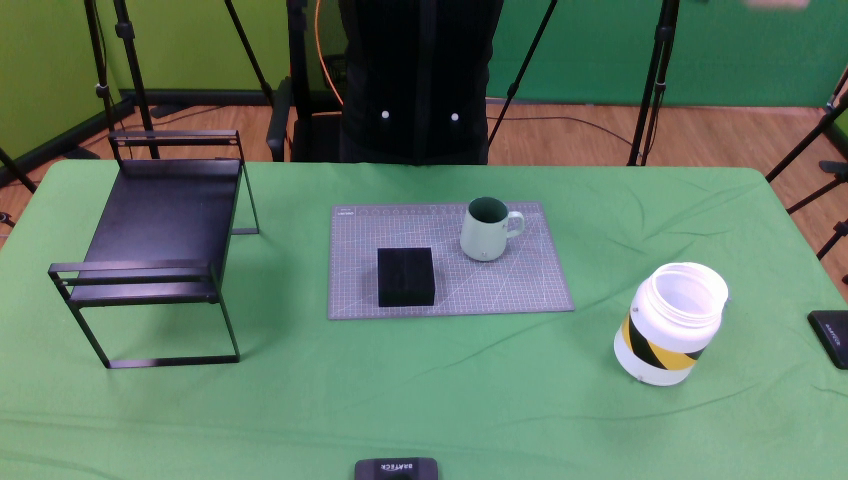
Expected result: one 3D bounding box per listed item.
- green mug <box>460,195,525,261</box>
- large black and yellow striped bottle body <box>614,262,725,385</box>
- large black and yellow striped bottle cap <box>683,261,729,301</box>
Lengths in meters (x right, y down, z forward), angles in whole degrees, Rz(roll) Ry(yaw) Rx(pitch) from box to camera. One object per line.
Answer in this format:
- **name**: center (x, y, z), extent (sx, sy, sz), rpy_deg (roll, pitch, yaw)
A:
- **green mug**: center (0.135, -0.024, 1.168), extent (0.125, 0.105, 0.092), rpy_deg (-8, 47, -11)
- **large black and yellow striped bottle body**: center (0.396, 0.135, 0.982), extent (0.131, 0.185, 0.130), rpy_deg (2, 46, -2)
- **large black and yellow striped bottle cap**: center (0.518, 0.087, 1.153), extent (0.115, 0.019, 0.114), rpy_deg (2, 47, -2)
